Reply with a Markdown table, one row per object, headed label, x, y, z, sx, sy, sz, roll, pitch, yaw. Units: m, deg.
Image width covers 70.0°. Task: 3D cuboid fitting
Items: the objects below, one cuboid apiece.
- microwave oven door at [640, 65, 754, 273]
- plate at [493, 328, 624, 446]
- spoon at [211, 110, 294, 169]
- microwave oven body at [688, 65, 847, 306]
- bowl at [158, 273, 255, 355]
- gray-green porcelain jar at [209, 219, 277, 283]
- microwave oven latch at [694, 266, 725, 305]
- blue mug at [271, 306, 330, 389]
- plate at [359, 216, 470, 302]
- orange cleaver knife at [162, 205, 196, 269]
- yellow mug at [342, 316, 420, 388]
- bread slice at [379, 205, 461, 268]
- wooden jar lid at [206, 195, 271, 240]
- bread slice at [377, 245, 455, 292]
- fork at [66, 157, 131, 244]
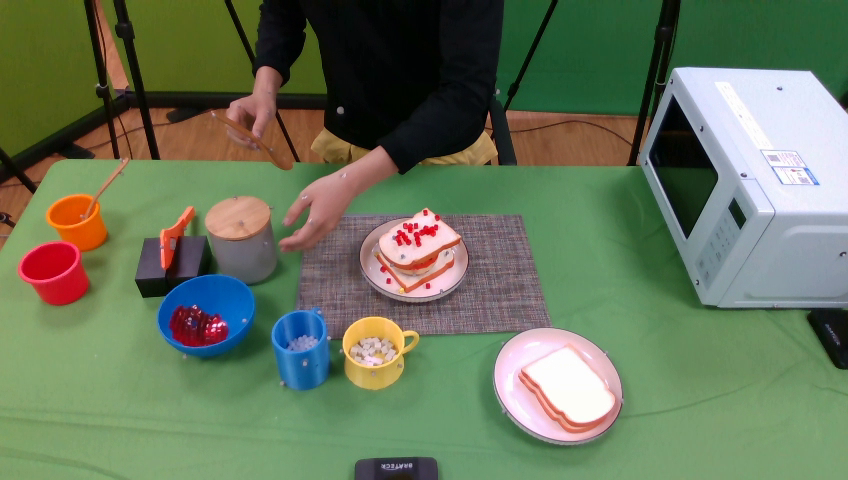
| label | x | y | z | sx | sy | sz | roll | pitch | yaw |
| --- | --- | --- | --- | --- | --- | --- | --- | --- | --- |
| microwave oven door | 0.522 | -0.147 | 1.193 | 0.039 | 0.245 | 0.353 | 0 | 47 | -3 |
| plate | 0.213 | 0.236 | 0.974 | 0.208 | 0.039 | 0.206 | 2 | 46 | -2 |
| spoon | -0.303 | -0.181 | 1.086 | 0.021 | 0.195 | 0.041 | -30 | 54 | 14 |
| microwave oven body | 0.669 | -0.111 | 1.176 | 0.326 | 0.261 | 0.439 | 0 | 46 | -3 |
| bowl | -0.351 | 0.136 | 1.001 | 0.151 | 0.077 | 0.150 | 2 | 46 | -2 |
| gray-green porcelain jar | -0.323 | 0.007 | 1.093 | 0.106 | 0.127 | 0.105 | 1 | 46 | -1 |
| microwave oven latch | 0.523 | 0.082 | 1.115 | 0.030 | 0.029 | 0.078 | 3 | 46 | 0 |
| blue mug | -0.188 | 0.163 | 0.969 | 0.082 | 0.106 | 0.116 | 15 | 47 | 10 |
| plate | -0.019 | 0.038 | 1.140 | 0.209 | 0.038 | 0.208 | 2 | 46 | -2 |
| orange cleaver knife | -0.454 | -0.010 | 1.129 | 0.012 | 0.077 | 0.210 | -1 | 20 | -5 |
| yellow mug | -0.068 | 0.177 | 0.990 | 0.131 | 0.064 | 0.099 | -15 | 50 | -20 |
| bread slice | -0.013 | -0.002 | 1.097 | 0.134 | 0.018 | 0.106 | -34 | 50 | -23 |
| wooden jar lid | -0.319 | -0.036 | 1.046 | 0.108 | 0.021 | 0.107 | 1 | 44 | 0 |
| bread slice | -0.010 | 0.034 | 1.150 | 0.131 | 0.019 | 0.104 | -29 | 56 | -23 |
| fork | -0.608 | -0.074 | 1.132 | 0.207 | 0.019 | 0.028 | -52 | 48 | 10 |
